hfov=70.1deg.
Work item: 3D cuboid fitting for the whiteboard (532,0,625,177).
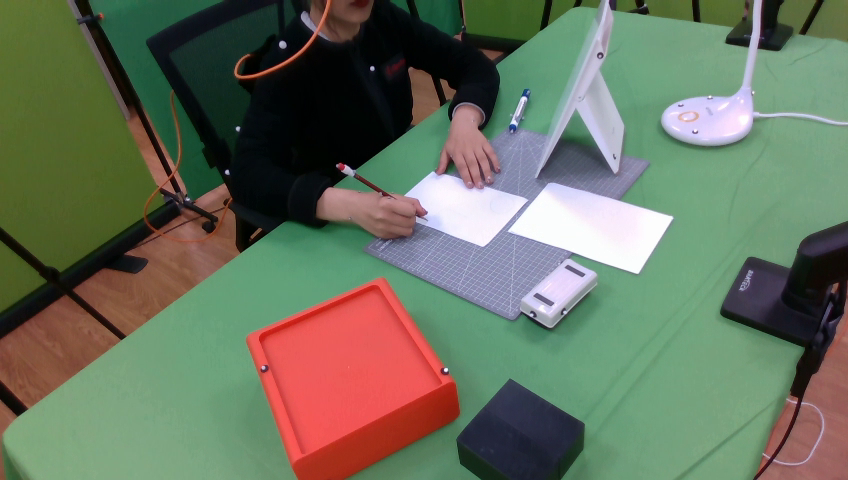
[{"bbox_3d":[0.321,-0.258,1.050,0.144,0.306,0.217,21,45,5],"label":"whiteboard"}]

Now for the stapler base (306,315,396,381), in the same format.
[{"bbox_3d":[-0.101,0.138,0.819,0.131,0.024,0.041,-31,37,-13],"label":"stapler base"}]

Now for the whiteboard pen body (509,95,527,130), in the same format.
[{"bbox_3d":[0.199,-0.273,1.261,0.017,0.017,0.140,8,44,19],"label":"whiteboard pen body"}]

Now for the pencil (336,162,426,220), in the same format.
[{"bbox_3d":[-0.064,-0.075,0.974,0.012,0.196,0.012,-29,46,35],"label":"pencil"}]

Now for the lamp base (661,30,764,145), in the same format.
[{"bbox_3d":[0.535,-0.287,1.096,0.179,0.181,0.159,-10,40,-4],"label":"lamp base"}]

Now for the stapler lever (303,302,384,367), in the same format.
[{"bbox_3d":[-0.108,0.123,0.805,0.118,0.040,0.026,-27,36,-15],"label":"stapler lever"}]

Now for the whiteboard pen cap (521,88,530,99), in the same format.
[{"bbox_3d":[0.218,-0.312,1.301,0.018,0.018,0.033,7,46,18],"label":"whiteboard pen cap"}]

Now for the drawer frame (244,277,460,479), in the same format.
[{"bbox_3d":[-0.093,0.167,0.755,0.202,0.083,0.211,-23,43,-17],"label":"drawer frame"}]

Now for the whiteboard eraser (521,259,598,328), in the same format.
[{"bbox_3d":[0.189,0.076,0.843,0.055,0.042,0.113,29,53,37],"label":"whiteboard eraser"}]

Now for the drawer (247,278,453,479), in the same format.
[{"bbox_3d":[-0.096,0.167,0.758,0.195,0.073,0.210,-22,43,-17],"label":"drawer"}]
